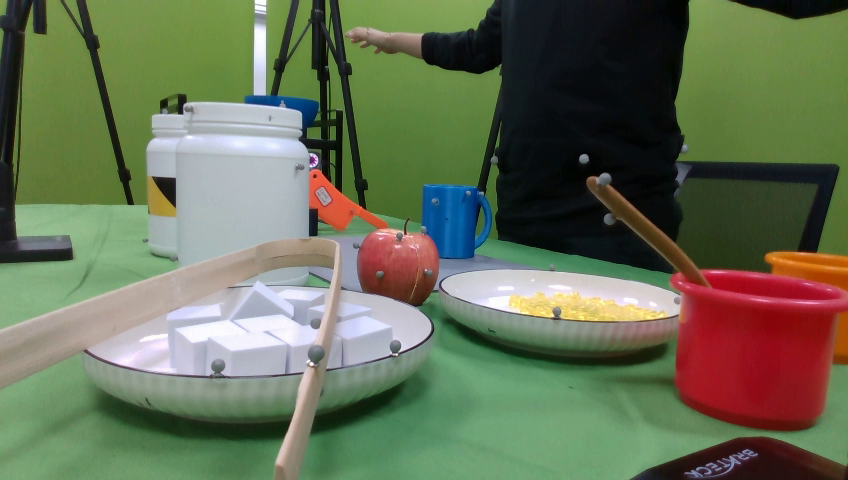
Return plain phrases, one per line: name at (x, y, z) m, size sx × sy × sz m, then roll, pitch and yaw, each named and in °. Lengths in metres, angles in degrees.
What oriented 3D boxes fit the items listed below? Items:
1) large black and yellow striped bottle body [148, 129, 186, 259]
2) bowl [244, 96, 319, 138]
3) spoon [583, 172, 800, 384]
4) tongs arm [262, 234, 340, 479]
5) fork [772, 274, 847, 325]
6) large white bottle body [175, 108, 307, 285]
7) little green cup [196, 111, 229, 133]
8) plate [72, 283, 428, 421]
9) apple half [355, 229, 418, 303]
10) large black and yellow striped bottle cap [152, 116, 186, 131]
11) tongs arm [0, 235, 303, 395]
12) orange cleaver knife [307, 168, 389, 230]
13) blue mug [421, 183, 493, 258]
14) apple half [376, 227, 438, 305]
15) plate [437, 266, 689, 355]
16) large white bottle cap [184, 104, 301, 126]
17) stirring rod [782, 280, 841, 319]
large black and yellow striped bottle body at (-0.310, -0.073, 0.838) m, size 0.131 × 0.184 × 0.130 m, roll 2°, pitch 8°, yaw 0°
bowl at (-0.295, -0.252, 1.254) m, size 0.151 × 0.077 × 0.151 m, roll 2°, pitch 7°, yaw 0°
spoon at (0.159, 0.026, 0.358) m, size 0.194 × 0.021 × 0.041 m, roll 46°, pitch -2°, yaw -14°
tongs arm at (-0.074, 0.039, 0.349) m, size 0.051 × 0.026 × 0.384 m, roll -2°, pitch 10°, yaw -3°
fork at (0.332, 0.018, 0.443) m, size 0.028 × 0.018 × 0.207 m, roll -1°, pitch -36°, yaw -15°
large white bottle body at (-0.188, -0.042, 0.630) m, size 0.131 × 0.184 × 0.130 m, roll 2°, pitch 8°, yaw 0°
little green cup at (-0.403, -0.225, 1.154) m, size 0.061 × 0.038 × 0.061 m, roll 3°, pitch 8°, yaw 0°
plate at (-0.102, 0.066, 0.381) m, size 0.208 × 0.039 × 0.207 m, roll 2°, pitch 7°, yaw 0°
apple half at (-0.043, 0.027, 0.564) m, size 0.081 × 0.081 × 0.033 m, roll 9°, pitch 5°, yaw 42°
large black and yellow striped bottle cap at (-0.309, -0.155, 0.826) m, size 0.115 × 0.019 × 0.115 m, roll 3°, pitch 6°, yaw 0°
tongs arm at (-0.157, 0.038, 0.351) m, size 0.028 × 0.028 × 0.388 m, roll -3°, pitch 9°, yaw 12°
orange cleaver knife at (-0.158, -0.060, 1.166) m, size 0.212 × 0.077 × 0.012 m, roll 34°, pitch -12°, yaw -32°
blue mug at (0.052, -0.032, 0.912) m, size 0.117 × 0.106 × 0.082 m, roll -1°, pitch 8°, yaw -24°
apple half at (-0.017, 0.026, 0.593) m, size 0.080 × 0.074 × 0.053 m, roll 4°, pitch 2°, yaw 43°
plate at (0.114, 0.057, 0.518) m, size 0.209 × 0.038 × 0.209 m, roll 3°, pitch 7°, yaw 0°
large white bottle cap at (-0.184, -0.126, 0.618) m, size 0.115 × 0.018 × 0.115 m, roll 2°, pitch 8°, yaw 0°
stirring rod at (0.344, 0.019, 0.461) m, size 0.014 × 0.006 × 0.176 m, roll -13°, pitch -27°, yaw -30°
